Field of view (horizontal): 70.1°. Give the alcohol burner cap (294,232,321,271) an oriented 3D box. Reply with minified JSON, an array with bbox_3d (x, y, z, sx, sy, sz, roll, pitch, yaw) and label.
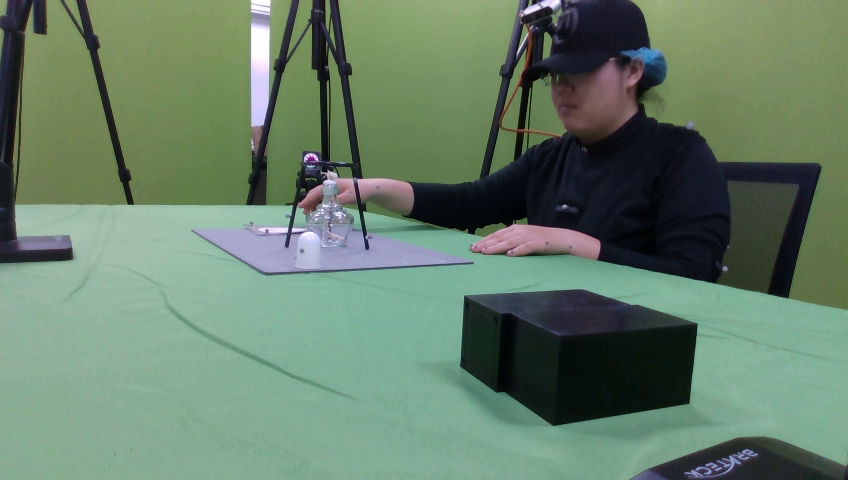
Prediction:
[{"bbox_3d":[-0.144,0.013,0.748,0.034,0.048,0.034,3,6,0],"label":"alcohol burner cap"}]

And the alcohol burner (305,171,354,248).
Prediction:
[{"bbox_3d":[-0.148,-0.048,0.949,0.078,0.119,0.078,1,6,0],"label":"alcohol burner"}]

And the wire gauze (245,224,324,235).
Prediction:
[{"bbox_3d":[-0.256,-0.020,1.108,0.122,0.011,0.124,-1,6,-28],"label":"wire gauze"}]

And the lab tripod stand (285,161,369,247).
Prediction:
[{"bbox_3d":[-0.151,-0.058,0.947,0.148,0.131,0.148,1,6,0],"label":"lab tripod stand"}]
